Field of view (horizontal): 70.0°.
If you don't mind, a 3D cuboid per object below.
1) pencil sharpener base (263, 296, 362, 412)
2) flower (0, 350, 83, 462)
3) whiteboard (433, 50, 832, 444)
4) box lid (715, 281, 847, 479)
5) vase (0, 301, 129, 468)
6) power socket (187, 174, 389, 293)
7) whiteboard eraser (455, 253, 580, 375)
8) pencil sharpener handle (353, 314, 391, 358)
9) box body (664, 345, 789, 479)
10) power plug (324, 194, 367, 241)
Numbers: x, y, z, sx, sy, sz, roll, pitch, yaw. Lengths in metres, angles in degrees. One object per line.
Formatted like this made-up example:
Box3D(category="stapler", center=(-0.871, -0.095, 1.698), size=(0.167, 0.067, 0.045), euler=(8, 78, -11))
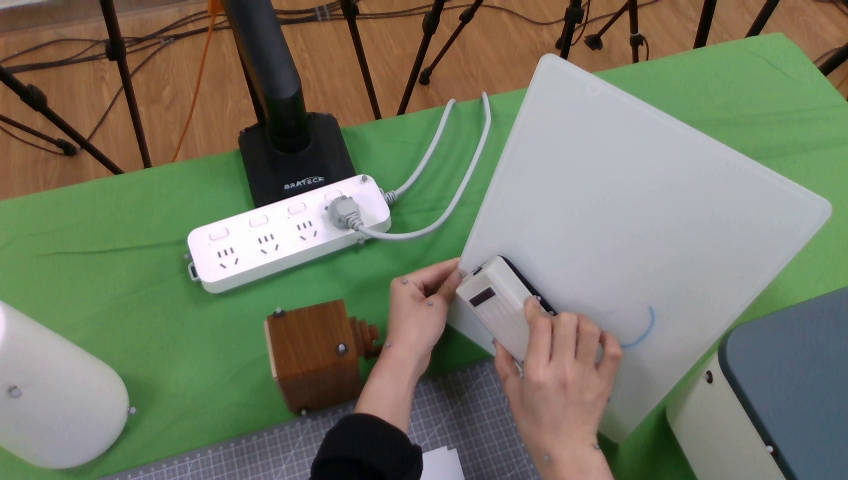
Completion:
Box3D(category="pencil sharpener base", center=(-0.095, 0.105, 0.548), size=(0.077, 0.108, 0.061), euler=(-13, 60, -11))
Box3D(category="flower", center=(-0.309, 0.055, 0.415), size=(0.038, 0.365, 0.043), euler=(-26, 46, -25))
Box3D(category="whiteboard", center=(0.171, -0.001, 0.549), size=(0.216, 0.307, 0.143), euler=(34, 44, 17))
Box3D(category="box lid", center=(0.397, 0.184, 0.413), size=(0.264, 0.015, 0.367), euler=(-16, 61, -13))
Box3D(category="vase", center=(-0.313, 0.114, 0.476), size=(0.098, 0.201, 0.097), euler=(1, 59, -1))
Box3D(category="power socket", center=(-0.144, -0.010, 0.657), size=(0.227, 0.033, 0.071), euler=(-20, 63, -15))
Box3D(category="whiteboard eraser", center=(0.084, 0.066, 0.544), size=(0.113, 0.055, 0.041), euler=(48, 38, -4))
Box3D(category="pencil sharpener handle", center=(-0.046, 0.088, 0.548), size=(0.031, 0.068, 0.035), euler=(-13, 60, -11))
Box3D(category="box body", center=(0.394, 0.225, 0.476), size=(0.254, 0.161, 0.360), euler=(-16, 62, -12))
Box3D(category="power plug", center=(-0.084, -0.016, 0.637), size=(0.035, 0.053, 0.072), euler=(-11, 62, -10))
